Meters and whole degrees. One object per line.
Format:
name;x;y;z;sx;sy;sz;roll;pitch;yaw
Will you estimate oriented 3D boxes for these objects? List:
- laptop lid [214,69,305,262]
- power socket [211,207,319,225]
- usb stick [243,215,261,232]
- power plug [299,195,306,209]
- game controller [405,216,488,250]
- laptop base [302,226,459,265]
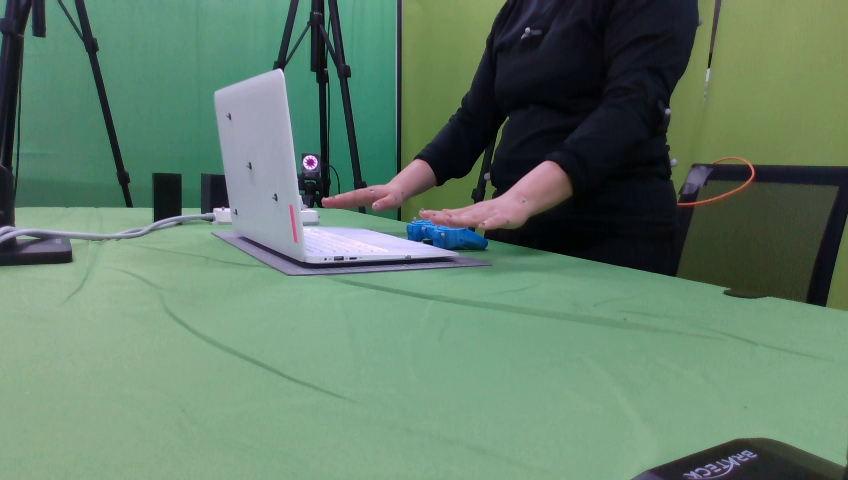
laptop lid;-0.246;-0.107;0.865;0.013;0.241;0.355;-11;14;-30
power socket;-0.334;-0.051;1.281;0.228;0.032;0.072;-1;9;-29
usb stick;-0.302;-0.028;1.070;0.021;0.027;0.059;-1;12;-30
power plug;-0.283;-0.075;1.342;0.035;0.052;0.072;0;3;-18
game controller;0.034;-0.013;1.067;0.097;0.051;0.154;-7;10;-29
laptop base;-0.136;0.006;0.951;0.237;0.023;0.352;2;6;-32
